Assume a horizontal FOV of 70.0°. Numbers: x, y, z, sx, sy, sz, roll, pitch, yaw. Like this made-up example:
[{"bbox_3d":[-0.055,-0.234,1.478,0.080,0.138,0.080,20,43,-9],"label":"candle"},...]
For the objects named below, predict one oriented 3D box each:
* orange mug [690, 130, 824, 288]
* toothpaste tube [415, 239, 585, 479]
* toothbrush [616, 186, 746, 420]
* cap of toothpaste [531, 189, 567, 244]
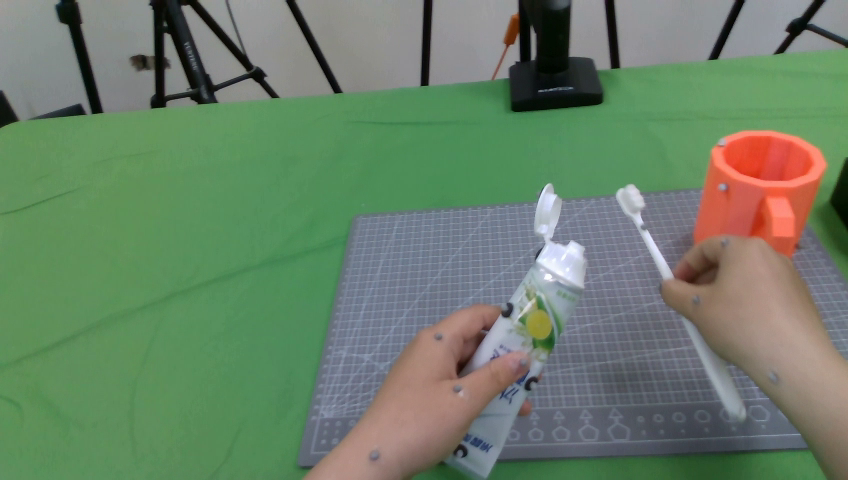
[{"bbox_3d":[0.285,-0.023,0.520,0.083,0.102,0.125,2,38,13],"label":"orange mug"},{"bbox_3d":[0.053,0.072,0.387,0.055,0.165,0.034,29,7,9],"label":"toothpaste tube"},{"bbox_3d":[0.185,0.041,0.436,0.014,0.017,0.181,-16,75,-24],"label":"toothbrush"},{"bbox_3d":[0.081,-0.015,0.386,0.011,0.038,0.037,17,47,33],"label":"cap of toothpaste"}]
